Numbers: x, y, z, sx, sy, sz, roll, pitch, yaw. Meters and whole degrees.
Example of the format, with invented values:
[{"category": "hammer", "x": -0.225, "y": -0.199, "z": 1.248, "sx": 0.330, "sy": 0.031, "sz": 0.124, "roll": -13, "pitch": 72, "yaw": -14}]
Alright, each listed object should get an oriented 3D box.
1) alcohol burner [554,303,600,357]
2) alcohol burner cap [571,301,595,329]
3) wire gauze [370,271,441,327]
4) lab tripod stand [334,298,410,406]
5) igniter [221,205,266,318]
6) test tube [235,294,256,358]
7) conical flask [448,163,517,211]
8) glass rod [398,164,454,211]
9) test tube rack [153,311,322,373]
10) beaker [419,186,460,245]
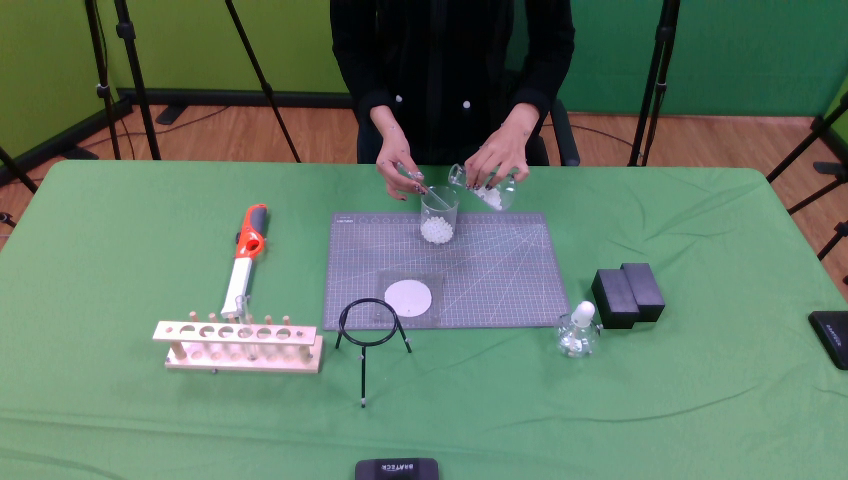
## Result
[{"category": "alcohol burner", "x": 0.260, "y": 0.143, "z": 1.018, "sx": 0.078, "sy": 0.119, "sz": 0.077, "roll": 3, "pitch": 45, "yaw": -3}, {"category": "alcohol burner cap", "x": 0.262, "y": 0.120, "z": 0.991, "sx": 0.034, "sy": 0.048, "sz": 0.033, "roll": 2, "pitch": 52, "yaw": -2}, {"category": "wire gauze", "x": -0.032, "y": 0.103, "z": 1.104, "sx": 0.125, "sy": 0.011, "sz": 0.121, "roll": 4, "pitch": 46, "yaw": 3}, {"category": "lab tripod stand", "x": -0.085, "y": 0.164, "z": 0.957, "sx": 0.148, "sy": 0.132, "sz": 0.147, "roll": 3, "pitch": 44, "yaw": -2}, {"category": "igniter", "x": -0.338, "y": 0.030, "z": 1.140, "sx": 0.057, "sy": 0.025, "sz": 0.274, "roll": -5, "pitch": 46, "yaw": 3}, {"category": "test tube", "x": -0.274, "y": 0.136, "z": 0.933, "sx": 0.017, "sy": 0.151, "sz": 0.017, "roll": 4, "pitch": 46, "yaw": -4}, {"category": "conical flask", "x": 0.104, "y": -0.105, "z": 1.120, "sx": 0.122, "sy": 0.075, "sz": 0.075, "roll": 19, "pitch": 41, "yaw": -24}, {"category": "glass rod", "x": 0.008, "y": -0.094, "z": 1.119, "sx": 0.008, "sy": 0.201, "sz": 0.008, "roll": -13, "pitch": 63, "yaw": 27}, {"category": "test tube rack", "x": -0.293, "y": 0.160, "z": 0.978, "sx": 0.242, "sy": 0.085, "sz": 0.066, "roll": 3, "pitch": 46, "yaw": -2}, {"category": "beaker", "x": 0.025, "y": -0.047, "z": 1.191, "sx": 0.074, "sy": 0.101, "sz": 0.083, "roll": -29, "pitch": 54, "yaw": -29}]
